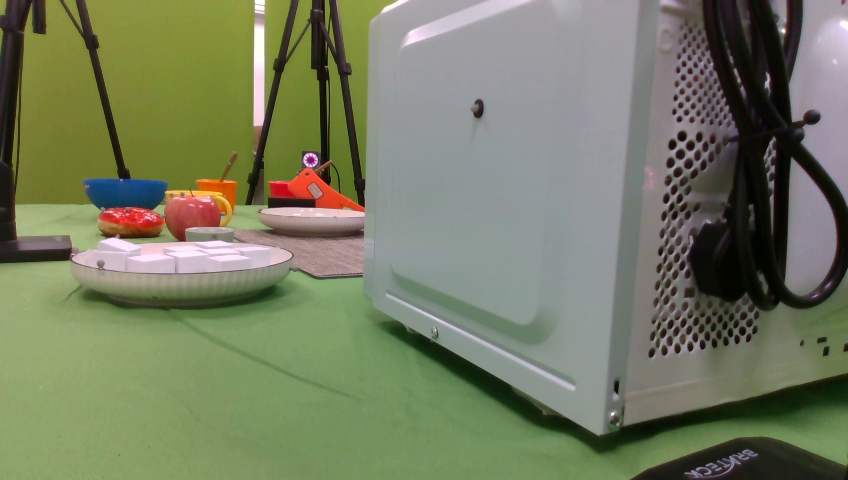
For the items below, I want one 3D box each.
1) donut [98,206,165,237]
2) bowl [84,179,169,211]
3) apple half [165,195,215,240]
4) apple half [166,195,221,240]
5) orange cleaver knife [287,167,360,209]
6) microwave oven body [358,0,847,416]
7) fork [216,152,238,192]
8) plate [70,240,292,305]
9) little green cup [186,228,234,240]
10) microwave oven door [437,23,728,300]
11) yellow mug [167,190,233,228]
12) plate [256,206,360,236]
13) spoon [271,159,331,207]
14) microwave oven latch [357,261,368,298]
[{"bbox_3d":[-0.472,-0.028,0.979,0.099,0.048,0.099,5,8,0],"label":"donut"},{"bbox_3d":[-0.584,-0.078,1.194,0.151,0.077,0.151,3,8,0],"label":"bowl"},{"bbox_3d":[-0.377,-0.038,0.964,0.082,0.081,0.032,-4,15,-39],"label":"apple half"},{"bbox_3d":[-0.352,-0.031,0.935,0.081,0.074,0.053,1,11,-40],"label":"apple half"},{"bbox_3d":[-0.210,-0.089,1.383,0.212,0.077,0.012,31,3,-15],"label":"orange cleaver knife"},{"bbox_3d":[0.211,-0.047,0.474,0.444,0.260,0.324,-1,7,-28],"label":"microwave oven body"},{"bbox_3d":[-0.455,-0.132,1.366,0.028,0.018,0.207,-2,-35,-37],"label":"fork"},{"bbox_3d":[-0.242,0.031,0.618,0.208,0.039,0.207,2,8,0],"label":"plate"},{"bbox_3d":[-0.284,0.005,0.805,0.061,0.038,0.061,2,8,0],"label":"little green cup"},{"bbox_3d":[0.180,-0.072,0.621,0.358,0.243,0.039,-2,9,-29],"label":"microwave oven door"},{"bbox_3d":[-0.415,-0.057,1.132,0.130,0.064,0.100,6,8,16],"label":"yellow mug"},{"bbox_3d":[-0.202,-0.037,1.120,0.209,0.038,0.209,2,8,0],"label":"plate"},{"bbox_3d":[-0.307,-0.141,1.513,0.193,0.021,0.041,-41,4,8],"label":"spoon"},{"bbox_3d":[-0.019,0.033,0.530,0.079,0.029,0.030,-1,7,-27],"label":"microwave oven latch"}]
